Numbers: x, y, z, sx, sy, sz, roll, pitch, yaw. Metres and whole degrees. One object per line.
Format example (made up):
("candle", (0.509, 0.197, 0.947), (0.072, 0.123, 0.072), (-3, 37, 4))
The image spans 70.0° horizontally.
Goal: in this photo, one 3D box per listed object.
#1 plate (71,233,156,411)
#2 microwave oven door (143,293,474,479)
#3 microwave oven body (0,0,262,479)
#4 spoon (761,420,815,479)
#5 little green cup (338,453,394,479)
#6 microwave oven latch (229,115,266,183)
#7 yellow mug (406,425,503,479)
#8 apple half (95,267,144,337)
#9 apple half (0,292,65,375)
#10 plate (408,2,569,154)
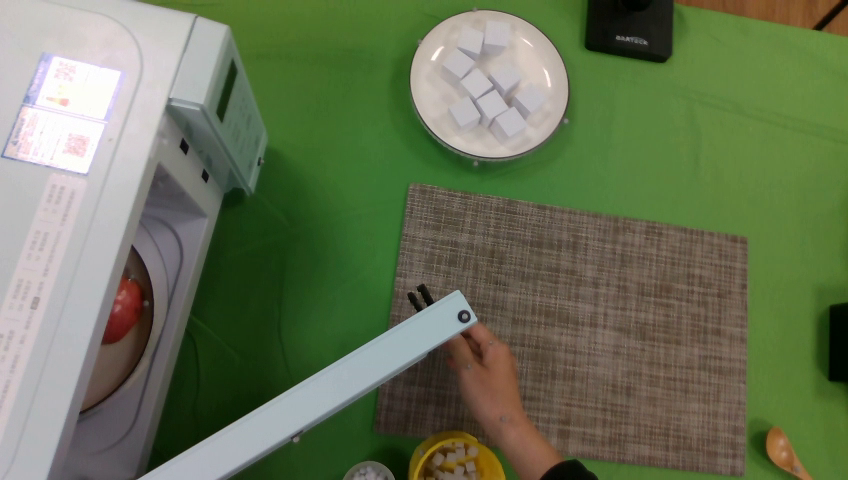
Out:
("plate", (-0.374, 0.071, 0.607), (0.209, 0.038, 0.208), (2, 78, -6))
("microwave oven door", (-0.129, 0.158, 0.557), (0.356, 0.244, 0.039), (-30, 81, -12))
("microwave oven body", (-0.376, 0.009, 0.565), (0.326, 0.260, 0.440), (12, 78, -4))
("spoon", (0.469, 0.298, 0.728), (0.041, 0.022, 0.193), (-36, 84, -31))
("little green cup", (-0.063, 0.265, 0.664), (0.061, 0.039, 0.061), (1, 77, -5))
("microwave oven latch", (-0.208, -0.109, 0.709), (0.030, 0.029, 0.079), (14, 77, -4))
("yellow mug", (0.026, 0.271, 0.659), (0.100, 0.064, 0.130), (20, 79, -2))
("apple half", (-0.327, 0.059, 0.608), (0.081, 0.033, 0.081), (1, 77, -3))
("apple half", (-0.396, 0.091, 0.579), (0.081, 0.053, 0.074), (24, 87, -16))
("plate", (0.082, -0.205, 0.783), (0.208, 0.039, 0.206), (1, 78, -6))
